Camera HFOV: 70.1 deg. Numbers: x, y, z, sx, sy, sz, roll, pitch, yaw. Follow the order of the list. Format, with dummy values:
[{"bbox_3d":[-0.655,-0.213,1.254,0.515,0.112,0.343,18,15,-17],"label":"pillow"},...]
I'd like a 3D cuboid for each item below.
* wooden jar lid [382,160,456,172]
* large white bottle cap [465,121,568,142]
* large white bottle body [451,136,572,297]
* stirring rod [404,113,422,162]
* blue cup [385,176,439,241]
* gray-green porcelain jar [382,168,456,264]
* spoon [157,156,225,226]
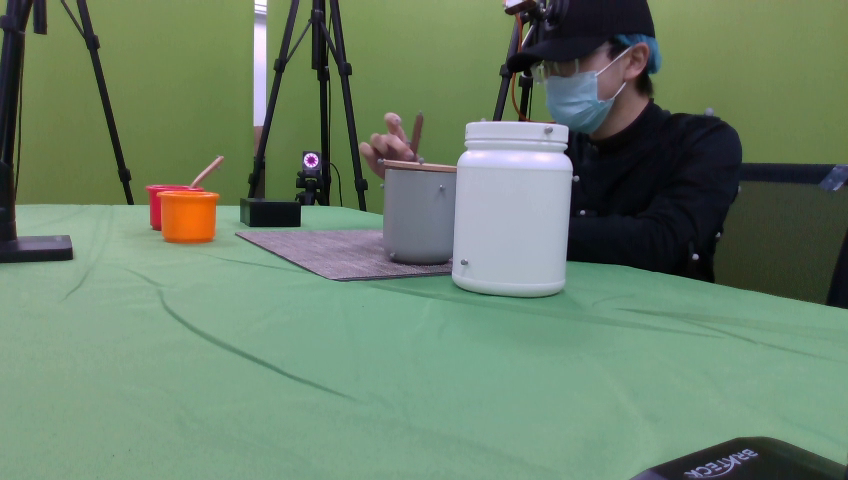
[{"bbox_3d":[-0.003,-0.096,0.826,0.108,0.020,0.108,5,10,0],"label":"wooden jar lid"},{"bbox_3d":[0.103,-0.120,0.677,0.115,0.018,0.115,2,7,0],"label":"large white bottle cap"},{"bbox_3d":[0.099,-0.037,0.688,0.131,0.184,0.130,2,7,0],"label":"large white bottle body"},{"bbox_3d":[-0.028,-0.120,0.984,0.014,0.176,0.006,14,2,24],"label":"stirring rod"},{"bbox_3d":[-0.021,-0.051,0.985,0.093,0.100,0.092,3,6,0],"label":"blue cup"},{"bbox_3d":[-0.005,-0.034,0.834,0.106,0.126,0.106,3,7,0],"label":"gray-green porcelain jar"},{"bbox_3d":[-0.425,-0.094,1.117,0.041,0.022,0.194,3,50,31],"label":"spoon"}]
